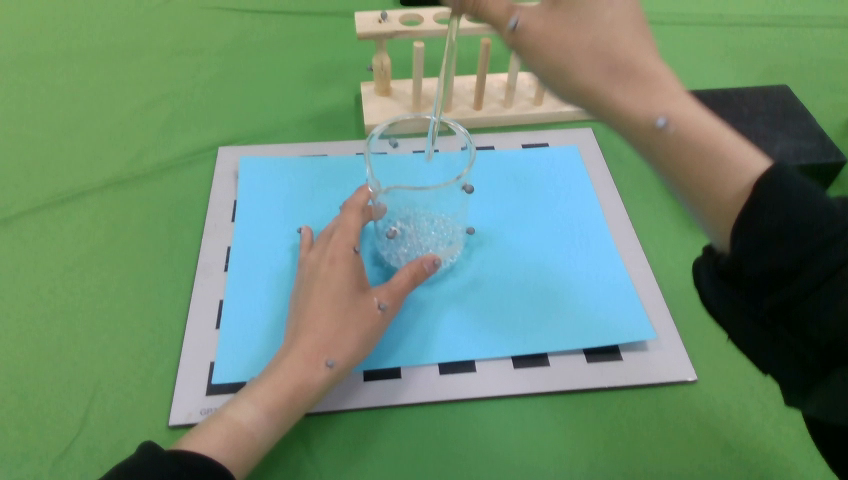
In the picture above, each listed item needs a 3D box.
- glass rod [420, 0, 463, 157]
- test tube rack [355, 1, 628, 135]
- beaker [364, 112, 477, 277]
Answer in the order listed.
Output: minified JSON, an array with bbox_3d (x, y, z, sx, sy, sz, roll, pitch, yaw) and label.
[{"bbox_3d":[0.015,-0.122,0.331,0.008,0.201,0.008,6,48,-7],"label":"glass rod"},{"bbox_3d":[0.062,-0.158,0.559,0.243,0.086,0.066,-5,50,-5],"label":"test tube rack"},{"bbox_3d":[-0.005,-0.026,0.432,0.073,0.101,0.084,34,58,25],"label":"beaker"}]
